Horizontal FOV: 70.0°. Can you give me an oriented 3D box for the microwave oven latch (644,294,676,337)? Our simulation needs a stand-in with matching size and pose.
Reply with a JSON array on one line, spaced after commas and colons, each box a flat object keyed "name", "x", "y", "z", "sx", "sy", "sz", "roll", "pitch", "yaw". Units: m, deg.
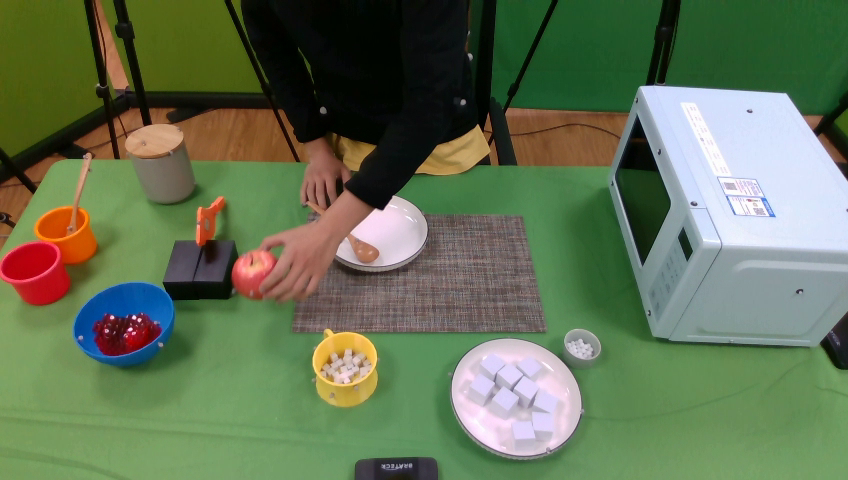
[{"name": "microwave oven latch", "x": 0.411, "y": 0.132, "z": 1.061, "sx": 0.030, "sy": 0.029, "sz": 0.078, "roll": 1, "pitch": 46, "yaw": -2}]

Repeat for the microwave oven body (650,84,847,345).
[{"name": "microwave oven body", "x": 0.569, "y": -0.054, "z": 1.116, "sx": 0.326, "sy": 0.261, "sz": 0.439, "roll": 2, "pitch": 46, "yaw": -1}]

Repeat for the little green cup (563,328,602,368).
[{"name": "little green cup", "x": 0.266, "y": 0.185, "z": 1.025, "sx": 0.061, "sy": 0.039, "sz": 0.061, "roll": 1, "pitch": 45, "yaw": -1}]

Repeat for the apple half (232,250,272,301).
[{"name": "apple half", "x": -0.287, "y": 0.063, "z": 0.995, "sx": 0.053, "sy": 0.075, "sz": 0.080, "roll": -21, "pitch": 56, "yaw": -19}]

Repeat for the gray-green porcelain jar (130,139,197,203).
[{"name": "gray-green porcelain jar", "x": -0.522, "y": -0.148, "z": 1.224, "sx": 0.106, "sy": 0.127, "sz": 0.105, "roll": 2, "pitch": 46, "yaw": -2}]

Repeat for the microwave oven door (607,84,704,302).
[{"name": "microwave oven door", "x": 0.424, "y": -0.096, "z": 1.137, "sx": 0.039, "sy": 0.245, "sz": 0.353, "roll": 3, "pitch": 46, "yaw": -1}]

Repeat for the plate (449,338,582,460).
[{"name": "plate", "x": 0.141, "y": 0.251, "z": 0.956, "sx": 0.208, "sy": 0.039, "sz": 0.206, "roll": 2, "pitch": 46, "yaw": -2}]

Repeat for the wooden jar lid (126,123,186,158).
[{"name": "wooden jar lid", "x": -0.519, "y": -0.190, "z": 1.179, "sx": 0.108, "sy": 0.021, "sz": 0.107, "roll": 2, "pitch": 44, "yaw": -2}]

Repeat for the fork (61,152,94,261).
[{"name": "fork", "x": -0.637, "y": -0.062, "z": 1.119, "sx": 0.028, "sy": 0.019, "sz": 0.207, "roll": 11, "pitch": 90, "yaw": 16}]

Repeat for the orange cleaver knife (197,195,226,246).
[{"name": "orange cleaver knife", "x": -0.404, "y": -0.041, "z": 1.157, "sx": 0.012, "sy": 0.077, "sz": 0.210, "roll": 2, "pitch": 14, "yaw": -7}]

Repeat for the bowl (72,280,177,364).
[{"name": "bowl", "x": -0.473, "y": 0.147, "z": 0.982, "sx": 0.151, "sy": 0.077, "sz": 0.150, "roll": 2, "pitch": 46, "yaw": -2}]

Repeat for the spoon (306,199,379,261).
[{"name": "spoon", "x": -0.160, "y": -0.023, "z": 1.171, "sx": 0.193, "sy": 0.022, "sz": 0.041, "roll": 42, "pitch": 61, "yaw": 16}]

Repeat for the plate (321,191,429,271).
[{"name": "plate", "x": -0.094, "y": -0.015, "z": 1.185, "sx": 0.209, "sy": 0.038, "sz": 0.208, "roll": 2, "pitch": 46, "yaw": -2}]

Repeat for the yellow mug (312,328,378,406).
[{"name": "yellow mug", "x": -0.132, "y": 0.193, "z": 0.971, "sx": 0.100, "sy": 0.064, "sz": 0.130, "roll": -22, "pitch": 51, "yaw": -22}]

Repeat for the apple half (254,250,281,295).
[{"name": "apple half", "x": -0.255, "y": 0.053, "z": 1.005, "sx": 0.033, "sy": 0.081, "sz": 0.081, "roll": -18, "pitch": 50, "yaw": -28}]
